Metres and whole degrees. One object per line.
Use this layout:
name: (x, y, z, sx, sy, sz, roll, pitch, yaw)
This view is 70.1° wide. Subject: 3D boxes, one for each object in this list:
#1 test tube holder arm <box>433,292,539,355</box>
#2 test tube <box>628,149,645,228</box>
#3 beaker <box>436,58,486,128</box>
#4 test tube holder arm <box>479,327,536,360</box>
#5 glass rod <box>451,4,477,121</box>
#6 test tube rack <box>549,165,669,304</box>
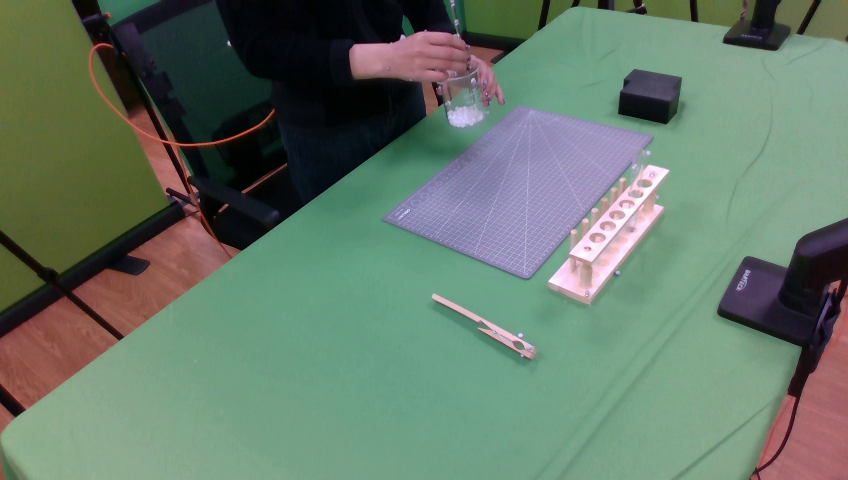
test tube holder arm: (0.081, 0.113, 0.832, 0.177, 0.015, 0.013, 28, 82, 36)
test tube: (0.309, -0.071, 0.882, 0.017, 0.151, 0.017, -7, 46, 8)
beaker: (0.065, -0.253, 1.056, 0.084, 0.101, 0.073, -30, 41, -18)
test tube holder arm: (0.110, 0.134, 0.805, 0.087, 0.015, 0.010, 29, 83, 36)
glass rod: (0.068, -0.293, 1.014, 0.008, 0.200, 0.008, -11, 30, 7)
test tube rack: (0.279, -0.018, 0.902, 0.066, 0.085, 0.243, 24, 50, 33)
